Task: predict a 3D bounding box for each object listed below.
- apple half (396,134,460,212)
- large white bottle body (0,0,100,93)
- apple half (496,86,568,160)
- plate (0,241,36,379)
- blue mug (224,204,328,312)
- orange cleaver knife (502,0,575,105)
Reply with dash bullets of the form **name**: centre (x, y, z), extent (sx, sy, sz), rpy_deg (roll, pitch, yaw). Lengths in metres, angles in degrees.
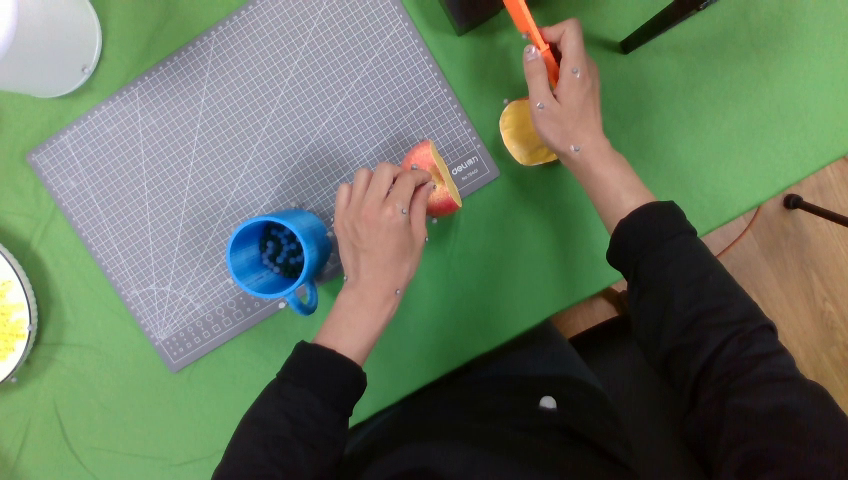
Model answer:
- **apple half**: centre (-0.001, -0.065, 0.639), extent (0.053, 0.074, 0.081), rpy_deg (-25, 101, 11)
- **large white bottle body**: centre (-0.421, -0.216, 0.578), extent (0.130, 0.184, 0.131), rpy_deg (0, 98, 3)
- **apple half**: centre (0.113, -0.124, 0.648), extent (0.081, 0.032, 0.081), rpy_deg (-2, 105, -8)
- **plate**: centre (-0.548, 0.073, 0.701), extent (0.209, 0.038, 0.209), rpy_deg (0, 99, 2)
- **blue mug**: centre (-0.146, 0.021, 0.642), extent (0.082, 0.105, 0.117), rpy_deg (-23, 97, 5)
- **orange cleaver knife**: centre (0.090, -0.218, 0.578), extent (0.012, 0.076, 0.213), rpy_deg (-35, 127, 7)
